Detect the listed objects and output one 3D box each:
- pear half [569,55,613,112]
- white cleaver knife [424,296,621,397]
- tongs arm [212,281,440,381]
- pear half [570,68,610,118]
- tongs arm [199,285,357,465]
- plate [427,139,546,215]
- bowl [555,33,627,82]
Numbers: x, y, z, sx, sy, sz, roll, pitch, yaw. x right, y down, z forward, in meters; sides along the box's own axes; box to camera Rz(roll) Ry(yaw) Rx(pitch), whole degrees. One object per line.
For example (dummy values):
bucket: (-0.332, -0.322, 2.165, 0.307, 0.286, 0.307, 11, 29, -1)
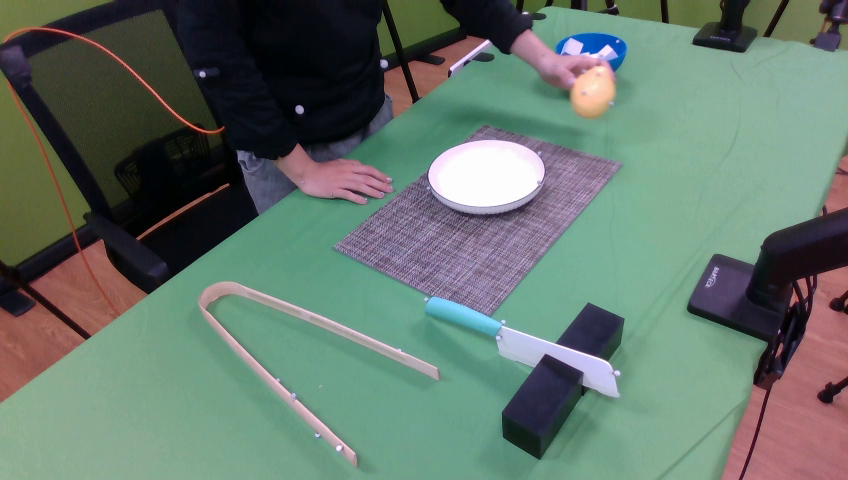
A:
pear half: (0.306, -0.282, 1.088, 0.076, 0.110, 0.056, 17, 36, 11)
white cleaver knife: (0.110, 0.132, 0.761, 0.284, 0.066, 0.021, 17, 42, 39)
tongs arm: (-0.148, 0.121, 0.845, 0.385, 0.028, 0.028, 17, 48, 25)
pear half: (0.292, -0.256, 1.066, 0.070, 0.088, 0.031, 16, 35, 12)
tongs arm: (-0.199, 0.162, 0.797, 0.381, 0.026, 0.051, 28, 50, 35)
plate: (0.109, -0.107, 1.058, 0.207, 0.039, 0.206, -4, 40, 4)
bowl: (0.360, -0.384, 1.318, 0.151, 0.077, 0.150, -4, 41, 4)
